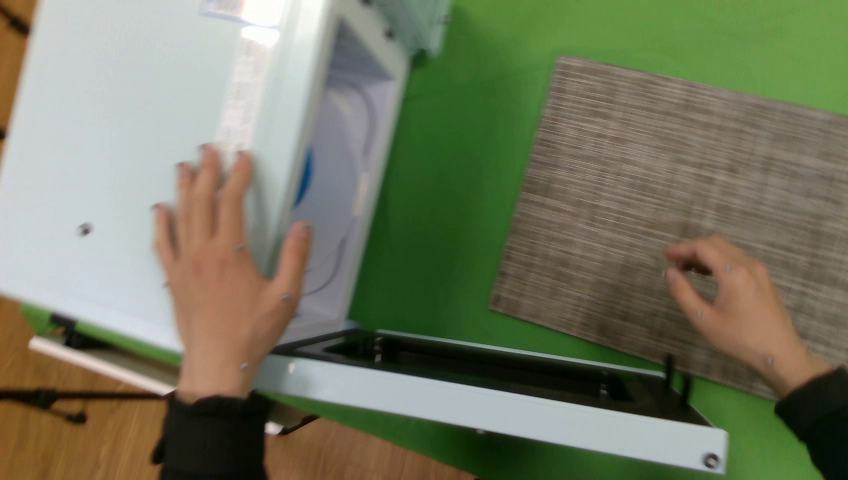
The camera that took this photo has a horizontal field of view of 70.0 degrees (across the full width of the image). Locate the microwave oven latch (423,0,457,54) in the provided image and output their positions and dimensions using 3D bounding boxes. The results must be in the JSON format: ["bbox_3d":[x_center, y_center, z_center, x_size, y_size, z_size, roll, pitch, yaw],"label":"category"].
[{"bbox_3d":[0.017,-0.255,0.687,0.030,0.029,0.079,16,91,12],"label":"microwave oven latch"}]

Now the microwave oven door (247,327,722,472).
[{"bbox_3d":[0.055,0.130,0.555,0.355,0.244,0.039,6,88,12],"label":"microwave oven door"}]

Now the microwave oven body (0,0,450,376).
[{"bbox_3d":[-0.189,-0.128,0.626,0.325,0.261,0.441,15,91,12],"label":"microwave oven body"}]
